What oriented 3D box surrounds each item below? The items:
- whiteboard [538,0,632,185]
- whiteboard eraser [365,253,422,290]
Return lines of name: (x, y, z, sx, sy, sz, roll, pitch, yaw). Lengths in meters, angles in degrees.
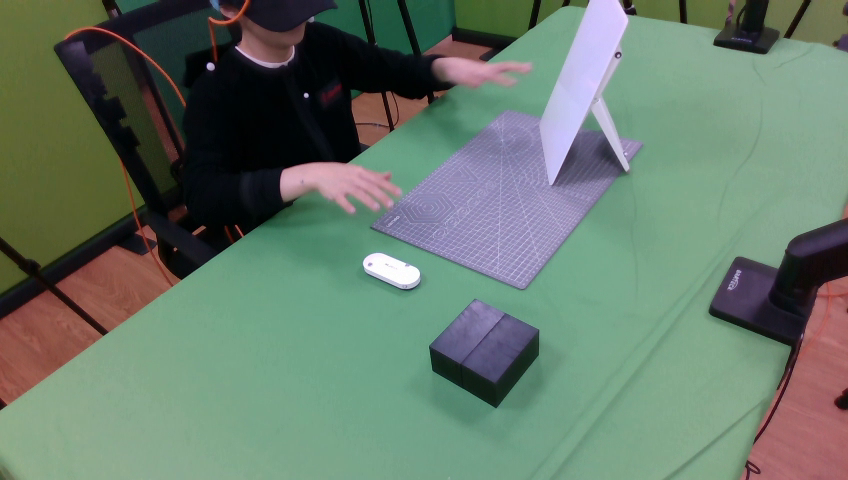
whiteboard: (0.327, -0.259, 1.055, 0.144, 0.305, 0.216, 13, 40, -6)
whiteboard eraser: (-0.047, 0.048, 0.931, 0.100, 0.019, 0.041, 21, 49, 31)
